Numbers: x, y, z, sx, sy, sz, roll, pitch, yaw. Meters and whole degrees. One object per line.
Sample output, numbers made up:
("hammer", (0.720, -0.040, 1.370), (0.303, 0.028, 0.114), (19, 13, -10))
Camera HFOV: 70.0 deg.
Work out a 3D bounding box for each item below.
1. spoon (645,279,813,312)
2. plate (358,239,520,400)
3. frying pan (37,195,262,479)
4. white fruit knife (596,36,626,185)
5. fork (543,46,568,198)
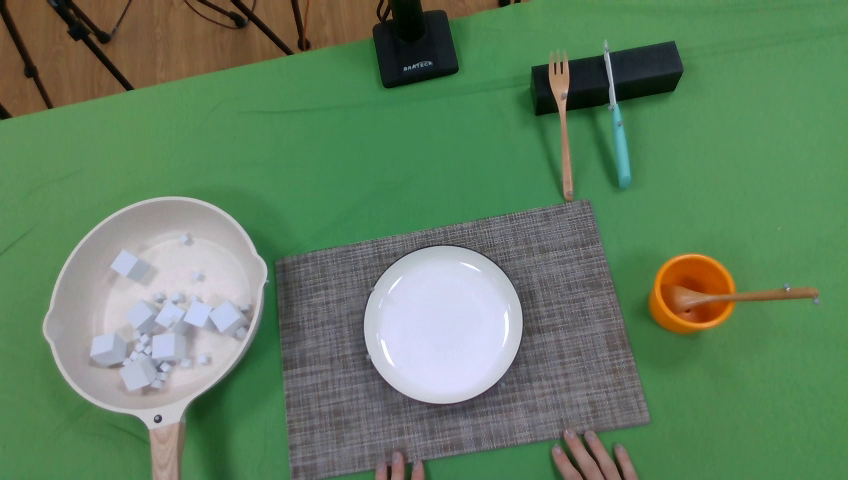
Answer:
("spoon", (0.343, 0.060, 0.701), (0.193, 0.022, 0.041), (-10, 69, 46))
("plate", (0.020, 0.102, 0.784), (0.207, 0.039, 0.206), (-2, 72, 6))
("frying pan", (-0.334, 0.173, 0.769), (0.307, 0.103, 0.483), (-14, 62, 2))
("white fruit knife", (0.254, -0.179, 0.832), (0.016, 0.027, 0.207), (-8, 86, 2))
("fork", (0.185, -0.162, 0.835), (0.028, 0.018, 0.207), (-5, 90, -2))
